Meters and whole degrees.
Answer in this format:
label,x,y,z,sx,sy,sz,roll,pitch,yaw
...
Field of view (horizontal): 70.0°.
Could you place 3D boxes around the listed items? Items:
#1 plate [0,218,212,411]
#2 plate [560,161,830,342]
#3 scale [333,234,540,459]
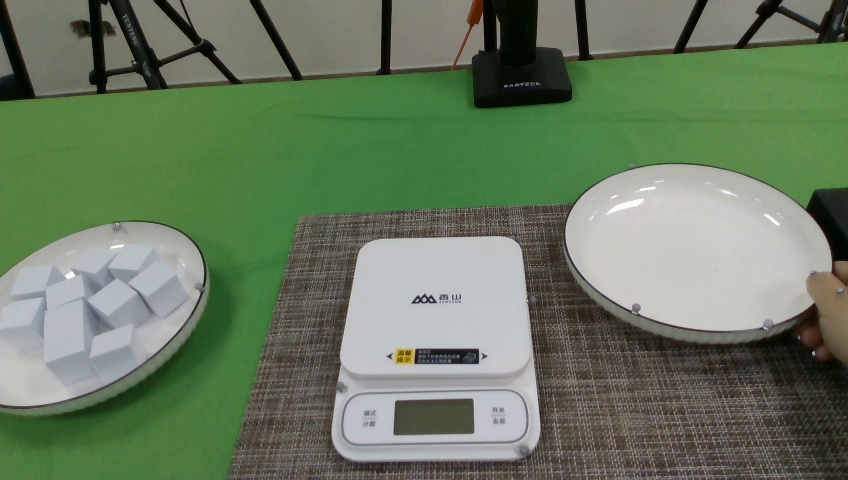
label,x,y,z,sx,sy,sz,roll,pitch,yaw
plate,-0.288,0.062,0.531,0.209,0.038,0.207,-3,44,3
plate,0.221,0.008,0.515,0.207,0.039,0.205,-4,42,4
scale,0.011,0.074,0.481,0.148,0.032,0.199,-2,45,6
